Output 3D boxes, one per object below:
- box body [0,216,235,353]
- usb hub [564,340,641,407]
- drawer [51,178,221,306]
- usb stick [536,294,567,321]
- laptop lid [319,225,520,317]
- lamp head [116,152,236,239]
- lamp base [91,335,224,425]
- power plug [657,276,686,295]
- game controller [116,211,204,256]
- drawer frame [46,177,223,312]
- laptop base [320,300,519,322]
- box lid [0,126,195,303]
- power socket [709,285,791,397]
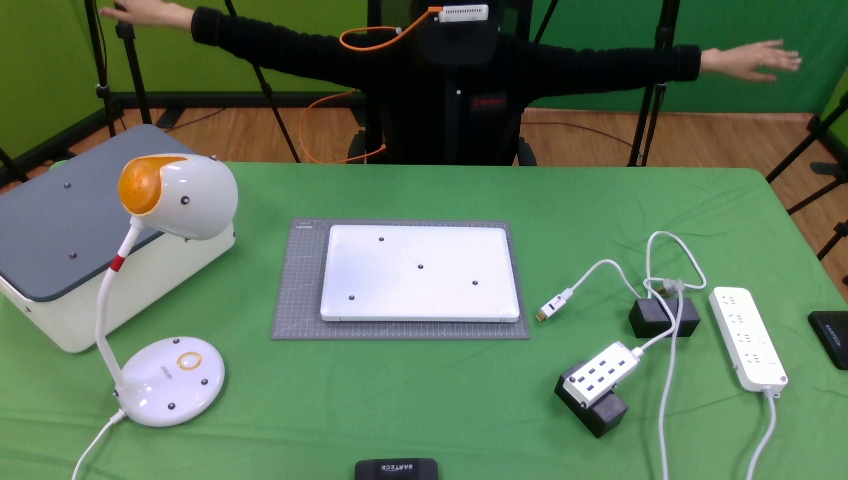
[{"bbox_3d":[-0.550,-0.007,1.068,0.253,0.161,0.363,30,51,23],"label":"box body"},{"bbox_3d":[0.278,0.205,0.944,0.125,0.025,0.049,-27,51,-28],"label":"usb hub"},{"bbox_3d":[-0.520,-0.001,1.107,0.194,0.073,0.211,26,50,21],"label":"drawer"},{"bbox_3d":[0.226,0.122,1.083,0.059,0.027,0.021,-37,78,-8],"label":"usb stick"},{"bbox_3d":[-0.008,0.052,1.131,0.357,0.013,0.240,2,43,-2],"label":"laptop lid"},{"bbox_3d":[-0.315,-0.057,0.748,0.112,0.112,0.123,26,10,20],"label":"lamp head"},{"bbox_3d":[-0.401,0.170,0.892,0.160,0.181,0.179,30,53,23],"label":"lamp base"},{"bbox_3d":[0.450,0.087,1.113,0.073,0.052,0.035,-13,72,-55],"label":"power plug"},{"bbox_3d":[-0.500,-0.018,1.142,0.154,0.051,0.097,24,20,19],"label":"game controller"},{"bbox_3d":[-0.519,0.001,1.106,0.201,0.083,0.213,26,51,21],"label":"drawer frame"},{"bbox_3d":[-0.009,0.062,1.138,0.354,0.023,0.234,1,42,-3],"label":"laptop base"},{"bbox_3d":[-0.535,-0.064,1.013,0.262,0.015,0.371,31,50,21],"label":"box lid"},{"bbox_3d":[0.567,0.168,1.064,0.072,0.033,0.225,2,46,0],"label":"power socket"}]
